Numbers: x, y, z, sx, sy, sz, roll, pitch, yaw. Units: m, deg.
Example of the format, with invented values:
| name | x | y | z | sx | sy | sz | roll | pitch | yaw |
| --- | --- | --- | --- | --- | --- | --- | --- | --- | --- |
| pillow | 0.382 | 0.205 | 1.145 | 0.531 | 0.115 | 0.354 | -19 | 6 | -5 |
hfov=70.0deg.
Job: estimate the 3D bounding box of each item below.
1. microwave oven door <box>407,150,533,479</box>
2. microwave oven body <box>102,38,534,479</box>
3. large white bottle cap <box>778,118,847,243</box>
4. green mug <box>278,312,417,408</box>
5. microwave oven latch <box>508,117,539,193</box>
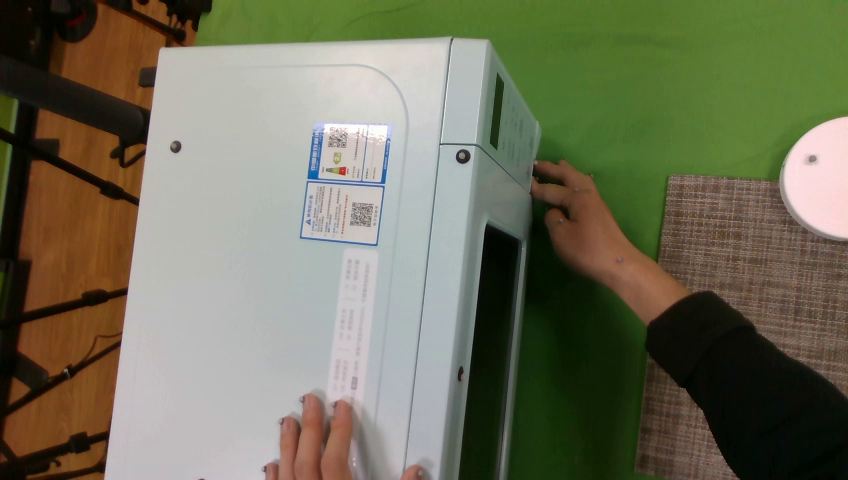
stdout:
| name | x | y | z | sx | sy | sz | roll | pitch | yaw |
| --- | --- | --- | --- | --- | --- | --- | --- | --- | --- |
| microwave oven door | 0.043 | 0.120 | 0.532 | 0.039 | 0.245 | 0.355 | 5 | 87 | 21 |
| microwave oven body | -0.088 | 0.068 | 0.589 | 0.324 | 0.261 | 0.441 | 5 | 87 | 20 |
| large white bottle cap | 0.391 | -0.055 | 0.556 | 0.114 | 0.018 | 0.114 | -2 | 84 | 19 |
| green mug | -0.069 | 0.117 | 0.601 | 0.125 | 0.105 | 0.092 | -8 | 83 | 15 |
| microwave oven latch | 0.100 | -0.089 | 0.638 | 0.030 | 0.029 | 0.079 | 13 | 90 | 20 |
